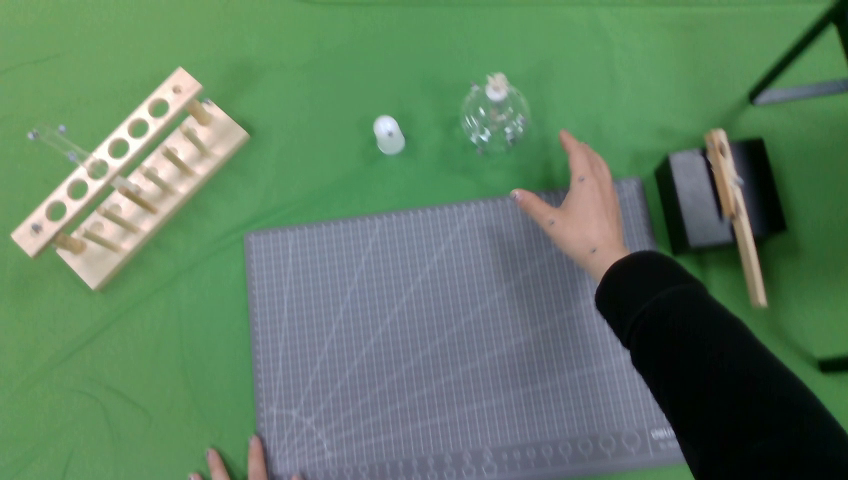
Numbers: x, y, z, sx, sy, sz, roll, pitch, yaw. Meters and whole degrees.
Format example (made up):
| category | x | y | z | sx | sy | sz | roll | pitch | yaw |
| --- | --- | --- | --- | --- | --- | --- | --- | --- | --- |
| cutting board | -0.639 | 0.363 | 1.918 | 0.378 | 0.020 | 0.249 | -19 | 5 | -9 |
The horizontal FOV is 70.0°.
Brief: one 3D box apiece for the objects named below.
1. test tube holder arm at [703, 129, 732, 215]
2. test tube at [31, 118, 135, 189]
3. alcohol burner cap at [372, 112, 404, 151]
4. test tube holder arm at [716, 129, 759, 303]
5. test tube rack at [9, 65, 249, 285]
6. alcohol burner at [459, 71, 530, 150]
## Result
| category | x | y | z | sx | sy | sz | roll | pitch | yaw |
| --- | --- | --- | --- | --- | --- | --- | --- | --- | --- |
| test tube holder arm | 0.299 | -0.069 | 0.614 | 0.010 | 0.015 | 0.087 | -5 | 79 | -14 |
| test tube | -0.337 | -0.081 | 0.611 | 0.017 | 0.151 | 0.017 | -2 | 73 | 5 |
| alcohol burner cap | -0.042 | -0.124 | 0.679 | 0.034 | 0.048 | 0.033 | -2 | 74 | 6 |
| test tube holder arm | 0.310 | -0.026 | 0.607 | 0.013 | 0.015 | 0.177 | -5 | 79 | -14 |
| test tube rack | -0.311 | -0.067 | 0.658 | 0.066 | 0.085 | 0.242 | 41 | 83 | 10 |
| alcohol burner | 0.075 | -0.142 | 0.642 | 0.078 | 0.120 | 0.077 | -1 | 76 | 4 |
